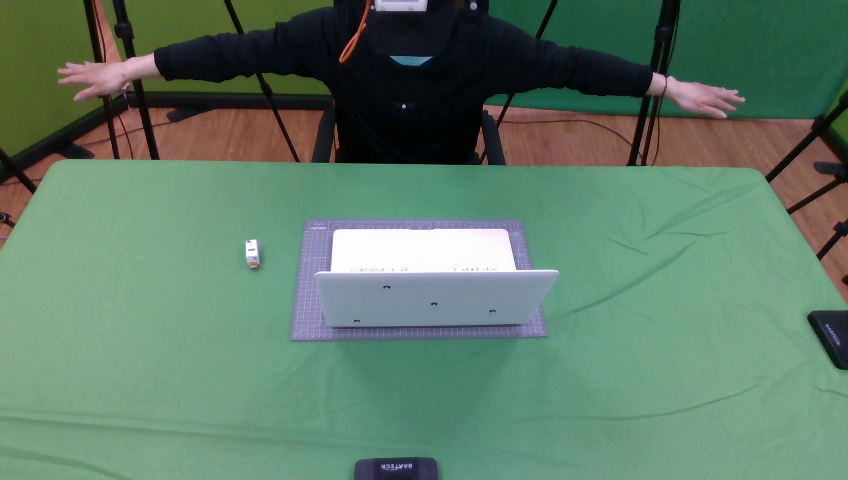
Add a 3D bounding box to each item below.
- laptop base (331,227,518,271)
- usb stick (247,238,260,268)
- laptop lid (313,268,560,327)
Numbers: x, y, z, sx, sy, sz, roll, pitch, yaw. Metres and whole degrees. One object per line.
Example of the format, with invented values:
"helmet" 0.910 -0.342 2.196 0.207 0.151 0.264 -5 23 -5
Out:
"laptop base" 0.003 0.062 1.135 0.355 0.023 0.234 0 43 -4
"usb stick" -0.322 0.026 1.144 0.021 0.027 0.059 -7 50 -12
"laptop lid" 0.015 0.095 0.949 0.357 0.242 0.013 0 64 -5
